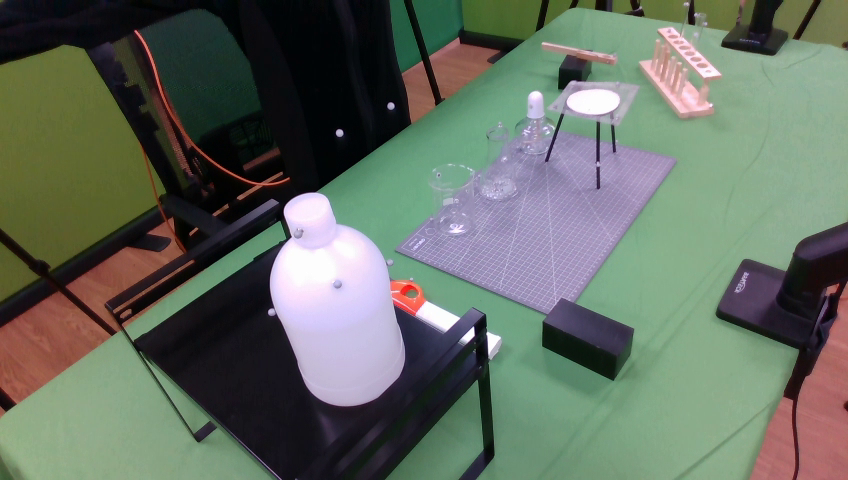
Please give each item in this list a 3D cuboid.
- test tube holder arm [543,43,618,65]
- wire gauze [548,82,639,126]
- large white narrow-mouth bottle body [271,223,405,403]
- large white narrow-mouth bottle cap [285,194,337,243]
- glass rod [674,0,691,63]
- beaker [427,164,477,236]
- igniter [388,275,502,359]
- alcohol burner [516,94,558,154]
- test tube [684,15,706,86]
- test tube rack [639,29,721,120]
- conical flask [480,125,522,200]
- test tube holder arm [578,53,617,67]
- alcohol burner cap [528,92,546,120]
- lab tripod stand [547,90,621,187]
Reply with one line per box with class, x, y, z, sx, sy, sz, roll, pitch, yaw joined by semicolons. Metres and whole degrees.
test tube holder arm;0.344;-0.413;1.340;0.177;0.015;0.013;25;50;31
wire gauze;0.286;-0.235;1.019;0.124;0.011;0.121;16;46;28
large white narrow-mouth bottle body;-0.077;0.048;0.525;0.102;0.195;0.101;-5;41;5
large white narrow-mouth bottle cap;-0.087;-0.017;0.467;0.038;0.024;0.037;-4;40;4
glass rod;0.537;-0.437;1.257;0.008;0.200;0.008;0;39;1
beaker;0.051;-0.064;0.986;0.084;0.101;0.073;-23;43;-18
igniter;-0.009;0.094;0.870;0.274;0.025;0.057;25;61;33
alcohol burner;0.212;-0.221;1.135;0.078;0.119;0.077;-5;42;5
test tube;0.541;-0.378;1.215;0.017;0.151;0.017;-2;44;3
test tube rack;0.527;-0.351;1.262;0.067;0.085;0.241;-8;40;1
conical flask;0.130;-0.135;1.038;0.075;0.122;0.075;-4;40;4
test tube holder arm;0.376;-0.393;1.314;0.087;0.015;0.010;26;51;32
alcohol burner cap;0.206;-0.249;1.112;0.034;0.048;0.033;-6;35;5
lab tripod stand;0.289;-0.184;1.062;0.148;0.132;0.147;-6;41;6
